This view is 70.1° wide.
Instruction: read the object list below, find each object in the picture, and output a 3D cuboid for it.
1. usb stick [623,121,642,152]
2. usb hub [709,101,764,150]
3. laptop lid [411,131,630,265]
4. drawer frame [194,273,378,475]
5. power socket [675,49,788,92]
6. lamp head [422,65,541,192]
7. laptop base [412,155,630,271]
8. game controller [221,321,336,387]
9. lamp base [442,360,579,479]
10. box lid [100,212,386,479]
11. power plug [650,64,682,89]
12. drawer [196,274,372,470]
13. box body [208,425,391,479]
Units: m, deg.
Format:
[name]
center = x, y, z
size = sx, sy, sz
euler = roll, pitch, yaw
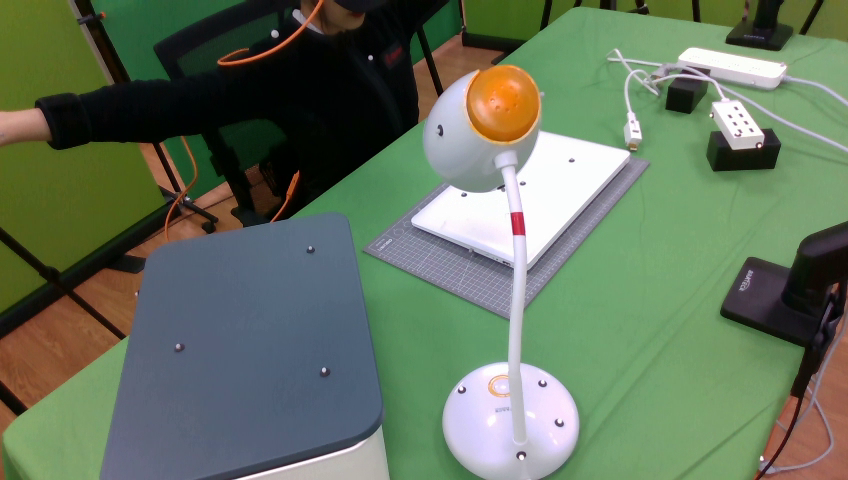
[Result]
[usb stick]
center = 0.389, -0.191, 1.128
size = 0.021, 0.027, 0.059
euler = 9, 61, -10
[usb hub]
center = 0.534, -0.199, 1.040
size = 0.049, 0.025, 0.124
euler = -5, 39, 8
[laptop lid]
center = 0.172, -0.094, 1.050
size = 0.239, 0.013, 0.358
euler = 23, 49, 36
[drawer frame]
center = -0.180, 0.159, 0.772
size = 0.202, 0.083, 0.212
euler = -17, 42, -8
[power socket]
center = 0.647, -0.363, 1.284
size = 0.225, 0.033, 0.072
euler = 26, 53, 35
[lamp head]
center = 0.060, -0.106, 0.560
size = 0.113, 0.112, 0.122
euler = -16, 0, -8
[laptop base]
center = 0.176, -0.084, 1.056
size = 0.233, 0.023, 0.355
euler = 20, 48, 36
[game controller]
center = -0.196, 0.145, 0.812
size = 0.155, 0.051, 0.096
euler = -18, 11, -10
[lamp base]
center = 0.094, 0.158, 0.657
size = 0.161, 0.181, 0.178
euler = -14, 42, -5
[box lid]
center = -0.195, 0.094, 0.680
size = 0.264, 0.015, 0.368
euler = -12, 39, -6
[power plug]
center = 0.498, -0.341, 1.263
size = 0.035, 0.052, 0.072
euler = 20, 10, -7
[drawer]
center = -0.184, 0.159, 0.773
size = 0.195, 0.073, 0.210
euler = -17, 40, -7
[box body]
center = -0.190, 0.161, 0.723
size = 0.255, 0.161, 0.361
euler = -13, 40, -5
